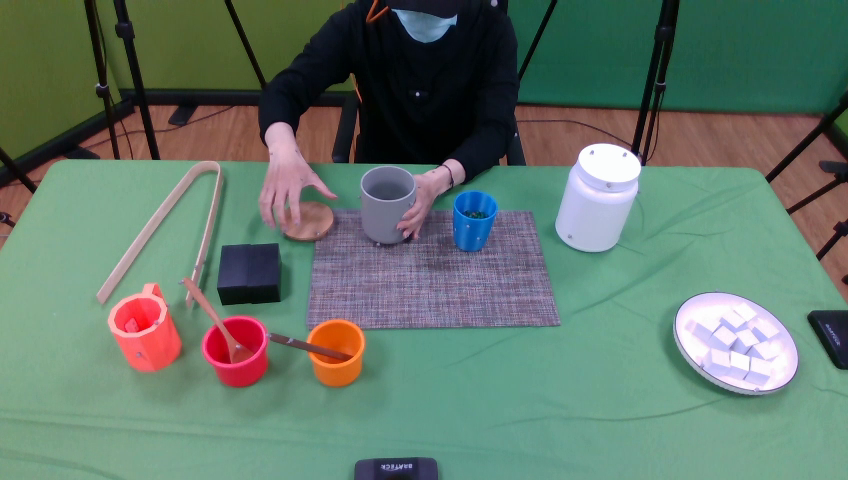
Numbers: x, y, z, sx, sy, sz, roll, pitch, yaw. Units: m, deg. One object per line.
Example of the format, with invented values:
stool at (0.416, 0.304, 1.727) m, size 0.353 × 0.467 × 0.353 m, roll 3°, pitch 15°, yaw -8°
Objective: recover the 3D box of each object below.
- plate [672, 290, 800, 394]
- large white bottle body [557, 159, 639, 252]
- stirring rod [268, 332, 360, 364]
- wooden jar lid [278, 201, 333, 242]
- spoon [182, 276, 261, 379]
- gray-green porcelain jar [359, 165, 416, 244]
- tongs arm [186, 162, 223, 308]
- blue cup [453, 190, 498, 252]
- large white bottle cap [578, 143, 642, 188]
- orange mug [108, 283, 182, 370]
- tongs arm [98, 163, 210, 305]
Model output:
plate at (0.533, 0.178, 1.050) m, size 0.208 × 0.039 × 0.206 m, roll 2°, pitch 46°, yaw -2°
large white bottle body at (0.340, -0.081, 1.184) m, size 0.131 × 0.185 × 0.130 m, roll 2°, pitch 46°, yaw -1°
stirring rod at (-0.167, 0.169, 0.942) m, size 0.177 × 0.006 × 0.014 m, roll 26°, pitch 27°, yaw -41°
wooden jar lid at (-0.236, -0.036, 1.213) m, size 0.108 × 0.021 × 0.107 m, roll 0°, pitch 47°, yaw 0°
spoon at (-0.321, 0.137, 0.957) m, size 0.041 × 0.021 × 0.194 m, roll -36°, pitch 102°, yaw -32°
gray-green porcelain jar at (-0.071, -0.064, 1.175) m, size 0.106 × 0.127 × 0.105 m, roll 2°, pitch 46°, yaw -2°
tongs arm at (-0.436, -0.024, 1.181) m, size 0.051 × 0.027 × 0.382 m, roll -3°, pitch 45°, yaw 1°
blue cup at (0.094, -0.032, 1.174) m, size 0.093 × 0.101 × 0.092 m, roll 3°, pitch 45°, yaw -3°
large white bottle cap at (0.344, -0.139, 1.123) m, size 0.115 × 0.018 × 0.114 m, roll 2°, pitch 46°, yaw -2°
orange mug at (-0.446, 0.134, 0.983) m, size 0.083 × 0.101 × 0.125 m, roll -1°, pitch 50°, yaw -5°
tongs arm at (-0.520, -0.026, 1.185) m, size 0.028 × 0.028 × 0.385 m, roll 4°, pitch 45°, yaw 13°
